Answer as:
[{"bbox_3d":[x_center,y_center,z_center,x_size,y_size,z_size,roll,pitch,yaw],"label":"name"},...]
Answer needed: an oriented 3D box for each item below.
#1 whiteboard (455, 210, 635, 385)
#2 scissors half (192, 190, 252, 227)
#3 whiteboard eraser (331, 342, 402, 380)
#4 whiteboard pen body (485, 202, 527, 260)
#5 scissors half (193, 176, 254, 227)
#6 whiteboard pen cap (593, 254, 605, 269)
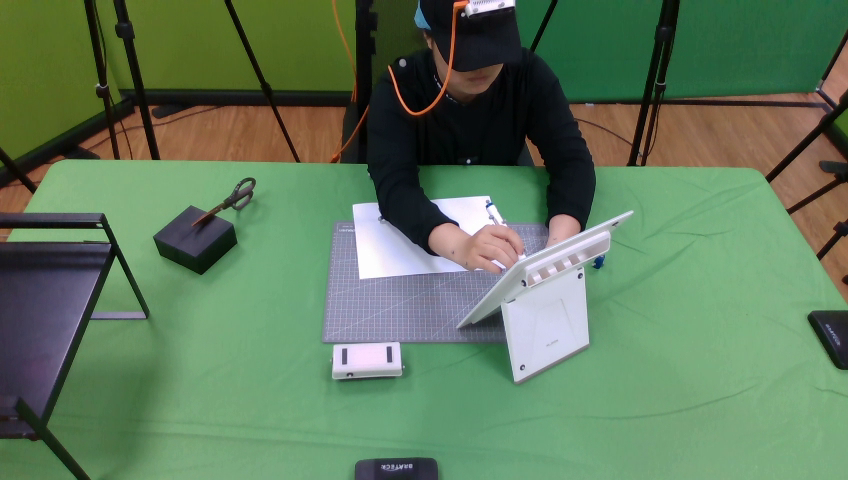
[{"bbox_3d":[0.211,0.111,0.955,0.217,0.306,0.143,-21,71,-23],"label":"whiteboard"},{"bbox_3d":[-0.393,-0.060,1.187,0.013,0.040,0.175,25,29,12],"label":"scissors half"},{"bbox_3d":[-0.094,0.198,0.986,0.113,0.042,0.055,-2,44,-6],"label":"whiteboard eraser"},{"bbox_3d":[0.142,-0.002,0.990,0.017,0.017,0.140,-25,76,-25],"label":"whiteboard pen body"},{"bbox_3d":[-0.388,-0.075,1.174,0.013,0.040,0.174,29,47,8],"label":"scissors half"},{"bbox_3d":[0.340,0.041,1.179,0.018,0.033,0.018,2,46,-1],"label":"whiteboard pen cap"}]
